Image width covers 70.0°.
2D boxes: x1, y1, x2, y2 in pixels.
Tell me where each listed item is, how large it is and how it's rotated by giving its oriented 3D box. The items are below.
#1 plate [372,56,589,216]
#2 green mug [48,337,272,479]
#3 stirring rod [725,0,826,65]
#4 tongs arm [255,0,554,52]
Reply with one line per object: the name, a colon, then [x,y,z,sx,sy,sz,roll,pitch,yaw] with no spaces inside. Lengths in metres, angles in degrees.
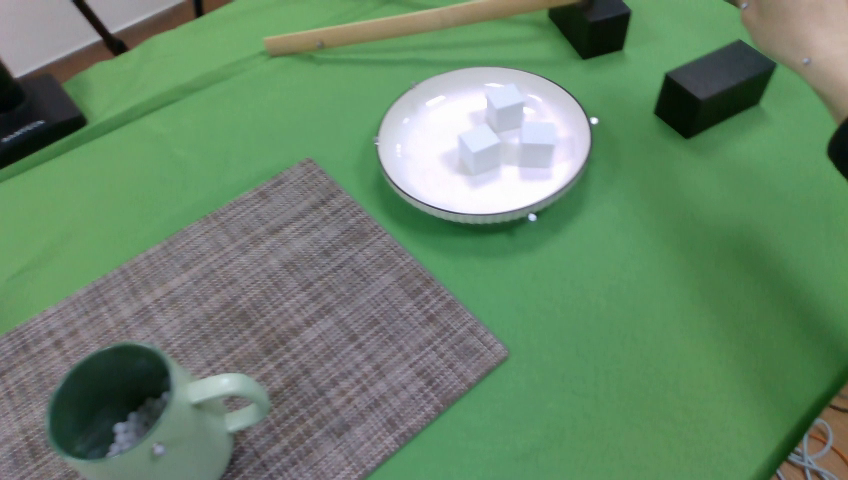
plate: [0.055,-0.102,0.597,0.207,0.039,0.205,-2,54,4]
green mug: [-0.168,0.119,0.410,0.125,0.106,0.091,-16,54,-7]
stirring rod: [0.271,-0.210,0.524,0.006,0.014,0.175,-37,73,-23]
tongs arm: [-0.009,-0.260,0.691,0.387,0.028,0.028,-7,47,11]
